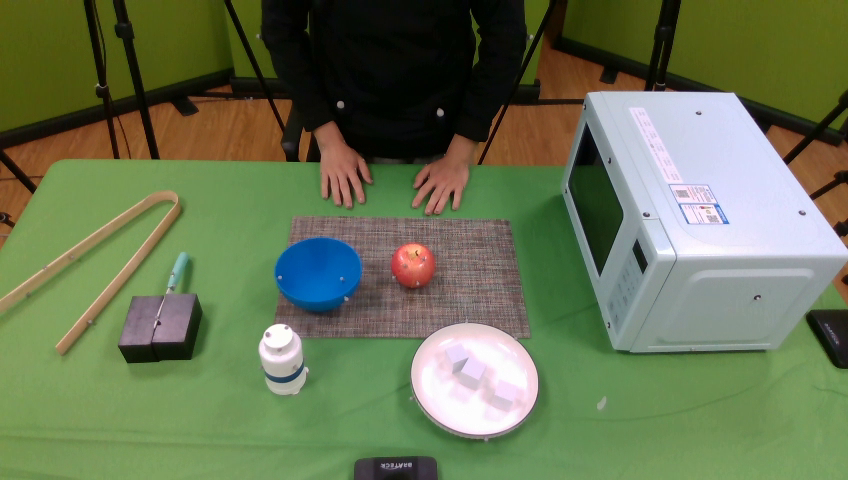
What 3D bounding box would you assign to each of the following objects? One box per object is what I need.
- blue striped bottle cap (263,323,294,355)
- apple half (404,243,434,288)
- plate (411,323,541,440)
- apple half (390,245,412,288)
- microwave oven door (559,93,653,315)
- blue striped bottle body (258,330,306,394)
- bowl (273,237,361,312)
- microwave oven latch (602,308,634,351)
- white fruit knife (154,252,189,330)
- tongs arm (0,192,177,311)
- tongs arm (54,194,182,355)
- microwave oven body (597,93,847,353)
[{"bbox_3d":[-0.217,0.146,0.900,0.044,0.021,0.044,1,46,-1],"label":"blue striped bottle cap"},{"bbox_3d":[-0.010,0.048,1.115,0.053,0.075,0.080,-7,43,-17],"label":"apple half"},{"bbox_3d":[0.082,0.228,0.976,0.208,0.039,0.206,2,45,-2],"label":"plate"},{"bbox_3d":[-0.046,0.053,1.105,0.033,0.081,0.080,-8,47,-16],"label":"apple half"},{"bbox_3d":[0.327,-0.074,1.123,0.039,0.245,0.353,-1,46,-5],"label":"microwave oven door"},{"bbox_3d":[-0.220,0.182,0.937,0.063,0.121,0.062,2,46,-2],"label":"blue striped bottle body"},{"bbox_3d":[-0.186,0.075,1.069,0.151,0.077,0.150,3,46,-3],"label":"bowl"},{"bbox_3d":[0.332,0.153,1.044,0.030,0.029,0.078,-1,45,-4],"label":"microwave oven latch"},{"bbox_3d":[-0.438,0.083,1.053,0.016,0.027,0.206,-2,35,-5],"label":"white fruit knife"},{"bbox_3d":[-0.618,0.019,1.124,0.050,0.026,0.384,24,47,16],"label":"tongs arm"},{"bbox_3d":[-0.543,0.048,1.107,0.028,0.028,0.385,11,46,10],"label":"tongs arm"},{"bbox_3d":[0.475,-0.041,1.110,0.326,0.261,0.438,-1,45,-4],"label":"microwave oven body"}]
